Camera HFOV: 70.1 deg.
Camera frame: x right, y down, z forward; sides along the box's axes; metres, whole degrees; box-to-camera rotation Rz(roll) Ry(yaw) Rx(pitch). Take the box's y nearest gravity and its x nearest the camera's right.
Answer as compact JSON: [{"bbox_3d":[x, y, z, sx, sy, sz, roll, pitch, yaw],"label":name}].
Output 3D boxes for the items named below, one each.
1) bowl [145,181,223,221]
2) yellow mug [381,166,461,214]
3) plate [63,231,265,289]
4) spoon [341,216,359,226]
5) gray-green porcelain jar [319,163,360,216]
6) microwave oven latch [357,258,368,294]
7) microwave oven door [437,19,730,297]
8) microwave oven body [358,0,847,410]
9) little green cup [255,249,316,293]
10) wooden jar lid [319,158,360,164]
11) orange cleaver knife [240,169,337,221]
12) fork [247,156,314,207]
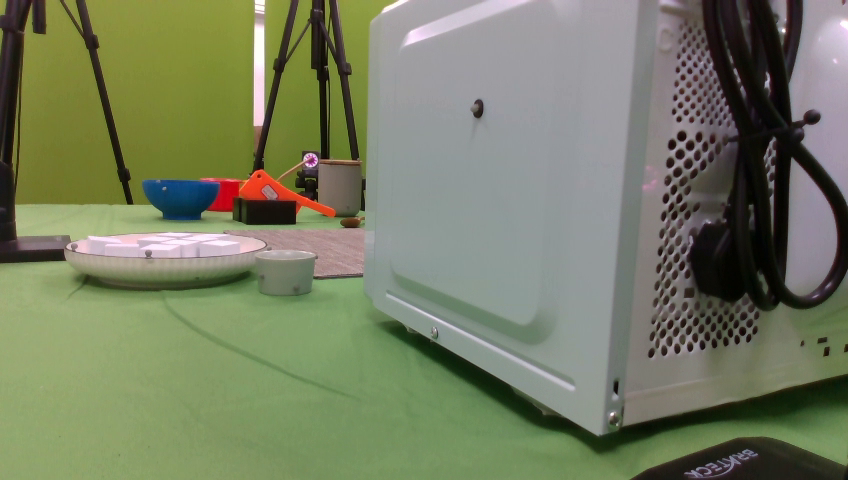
[{"bbox_3d":[-0.499,-0.081,1.261,0.151,0.077,0.151,2,7,0],"label":"bowl"},{"bbox_3d":[-0.001,-0.079,0.979,0.131,0.064,0.099,6,4,-20],"label":"yellow mug"},{"bbox_3d":[-0.288,0.021,0.687,0.208,0.039,0.207,2,8,0],"label":"plate"},{"bbox_3d":[-0.132,-0.048,1.305,0.041,0.021,0.194,-15,3,14],"label":"spoon"},{"bbox_3d":[-0.204,-0.126,1.490,0.106,0.126,0.106,2,7,0],"label":"gray-green porcelain jar"},{"bbox_3d":[-0.019,0.031,0.529,0.079,0.029,0.030,-1,7,-27],"label":"microwave oven latch"},{"bbox_3d":[0.181,-0.076,0.618,0.358,0.243,0.039,-2,9,-28],"label":"microwave oven door"},{"bbox_3d":[0.210,-0.051,0.471,0.444,0.260,0.324,-1,7,-28],"label":"microwave oven body"},{"bbox_3d":[-0.144,0.031,0.627,0.061,0.038,0.061,2,6,0],"label":"little green cup"},{"bbox_3d":[-0.203,-0.189,1.482,0.108,0.020,0.108,2,10,0],"label":"wooden jar lid"},{"bbox_3d":[-0.286,-0.082,1.298,0.212,0.077,0.012,25,-2,-31],"label":"orange cleaver knife"},{"bbox_3d":[-0.360,-0.147,1.523,0.207,0.018,0.028,-43,14,-7],"label":"fork"}]
